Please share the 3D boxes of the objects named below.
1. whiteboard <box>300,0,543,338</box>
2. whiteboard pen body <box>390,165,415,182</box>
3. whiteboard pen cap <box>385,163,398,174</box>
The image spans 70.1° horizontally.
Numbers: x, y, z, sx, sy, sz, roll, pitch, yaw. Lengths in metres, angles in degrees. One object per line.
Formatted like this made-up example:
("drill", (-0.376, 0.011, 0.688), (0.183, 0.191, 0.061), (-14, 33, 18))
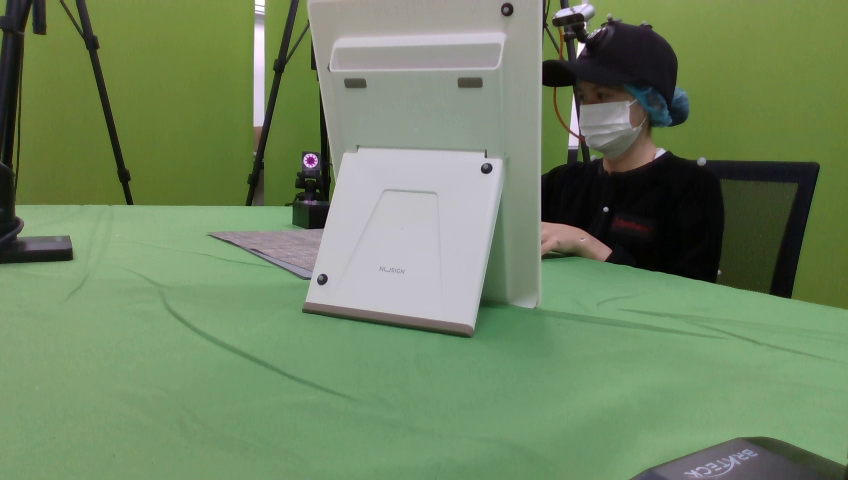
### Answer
("whiteboard", (-0.020, -0.050, 0.523), (0.216, 0.305, 0.144), (6, 27, 22))
("whiteboard pen body", (-0.041, -0.123, 1.114), (0.017, 0.017, 0.141), (4, -1, 14))
("whiteboard pen cap", (-0.055, -0.125, 1.054), (0.018, 0.018, 0.033), (4, 1, 13))
